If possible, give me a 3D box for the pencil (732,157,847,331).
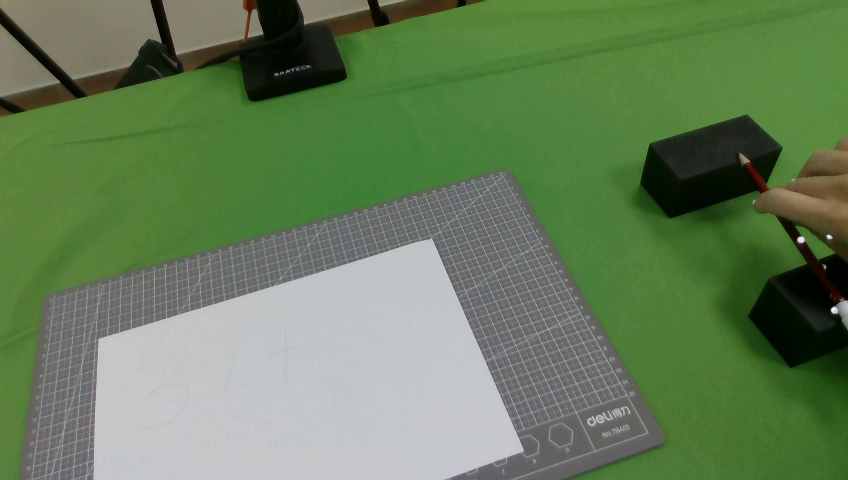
[{"bbox_3d":[0.279,-0.002,0.461,0.012,0.012,0.192,-9,48,0],"label":"pencil"}]
